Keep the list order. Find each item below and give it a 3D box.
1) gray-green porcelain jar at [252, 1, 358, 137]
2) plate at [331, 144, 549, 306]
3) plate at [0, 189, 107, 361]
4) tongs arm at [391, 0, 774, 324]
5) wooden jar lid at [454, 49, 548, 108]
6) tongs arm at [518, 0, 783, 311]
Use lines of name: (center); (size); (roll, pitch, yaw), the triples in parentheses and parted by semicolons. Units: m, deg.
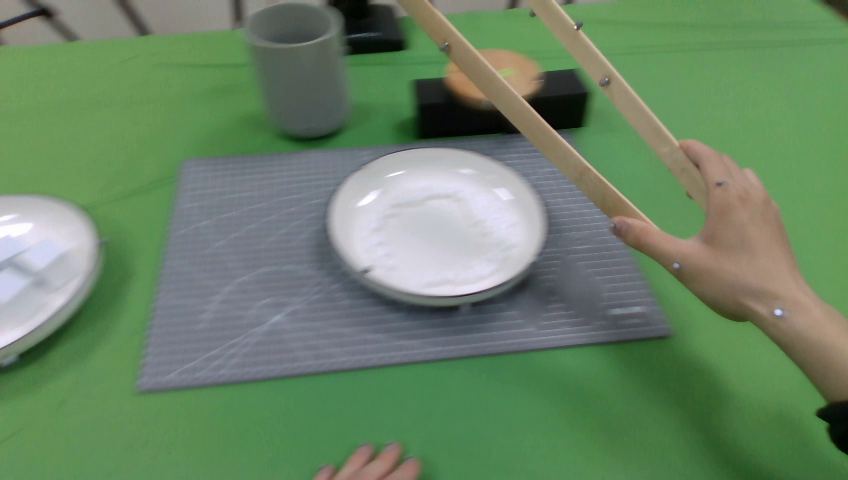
gray-green porcelain jar: (-0.131, -0.192, 0.698); (0.106, 0.127, 0.105); (0, 46, 0)
plate: (0.015, -0.016, 0.589); (0.209, 0.038, 0.207); (0, 47, 0)
plate: (-0.391, 0.036, 0.543); (0.208, 0.039, 0.205); (0, 47, 0)
tongs arm: (0.110, -0.071, 0.468); (0.386, 0.028, 0.028); (45, 58, 5)
wooden jar lid: (0.088, -0.185, 0.697); (0.108, 0.021, 0.107); (1, 48, 0)
tongs arm: (0.154, -0.103, 0.494); (0.051, 0.026, 0.383); (-35, 81, -28)
